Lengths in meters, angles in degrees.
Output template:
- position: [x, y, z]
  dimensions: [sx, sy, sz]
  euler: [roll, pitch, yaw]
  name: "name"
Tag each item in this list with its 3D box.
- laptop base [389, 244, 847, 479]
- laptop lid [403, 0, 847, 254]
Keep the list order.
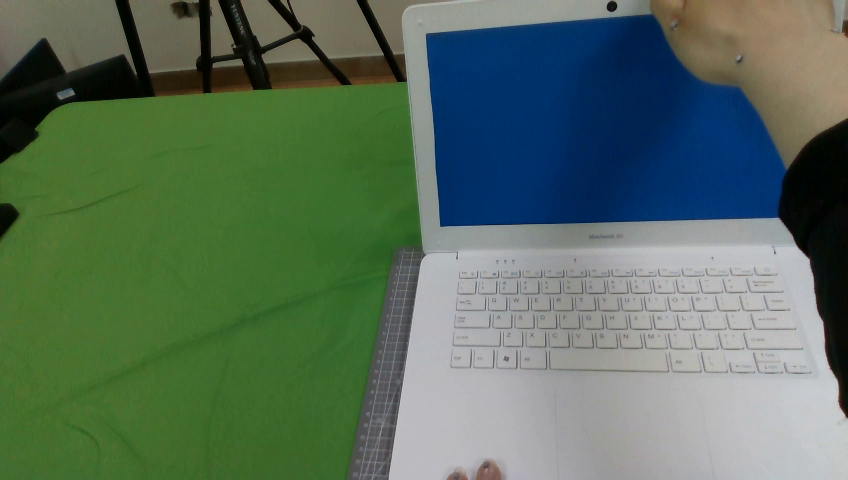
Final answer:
- position: [0.159, 0.099, 0.490]
  dimensions: [0.354, 0.023, 0.233]
  euler: [-1, 50, 10]
  name: "laptop base"
- position: [0.163, -0.096, 0.528]
  dimensions: [0.356, 0.243, 0.013]
  euler: [-3, 19, 11]
  name: "laptop lid"
